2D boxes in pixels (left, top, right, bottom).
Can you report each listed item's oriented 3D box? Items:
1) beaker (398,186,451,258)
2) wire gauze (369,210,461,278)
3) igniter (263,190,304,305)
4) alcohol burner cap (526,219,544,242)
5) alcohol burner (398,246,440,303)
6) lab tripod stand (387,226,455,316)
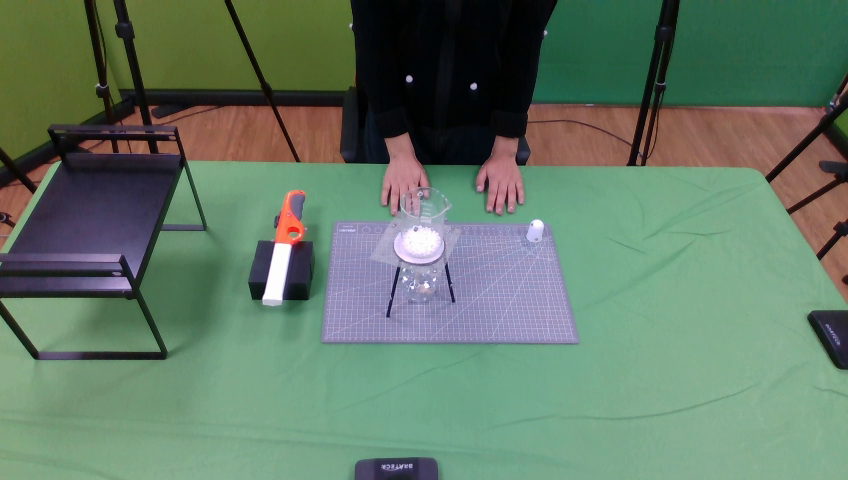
[{"bbox_3d":[-0.001,-0.026,0.984,0.084,0.101,0.073,1,48,-3],"label":"beaker"},{"bbox_3d":[-0.013,0.007,1.019,0.121,0.011,0.124,16,51,13],"label":"wire gauze"},{"bbox_3d":[-0.255,0.004,1.107,0.057,0.025,0.274,6,46,-7],"label":"igniter"},{"bbox_3d":[0.225,-0.021,1.218,0.034,0.048,0.033,1,46,-1],"label":"alcohol burner cap"},{"bbox_3d":[-0.008,0.056,1.077,0.078,0.119,0.077,3,44,-3],"label":"alcohol burner"},{"bbox_3d":[-0.013,0.054,1.064,0.148,0.132,0.147,2,48,-2],"label":"lab tripod stand"}]
